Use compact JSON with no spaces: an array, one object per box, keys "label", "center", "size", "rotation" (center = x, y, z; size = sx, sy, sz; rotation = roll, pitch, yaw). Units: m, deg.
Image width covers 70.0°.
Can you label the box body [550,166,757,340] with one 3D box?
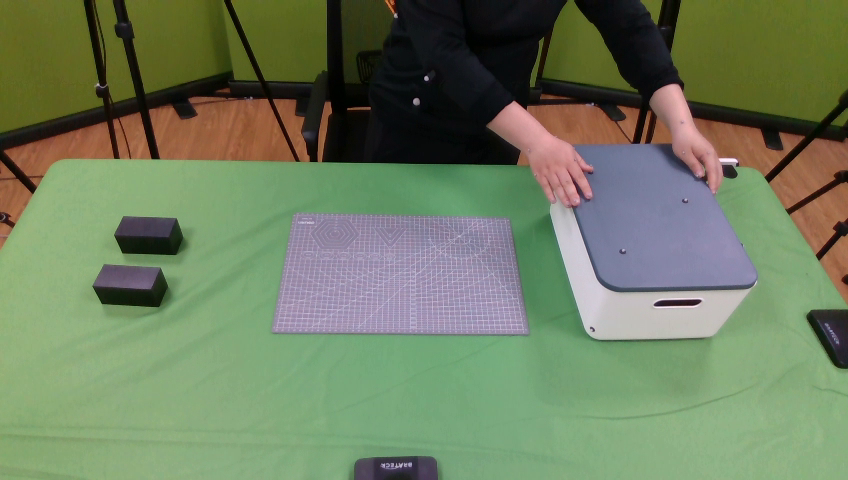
[{"label":"box body","center":[0.395,0.002,1.127],"size":[0.254,0.161,0.361],"rotation":[-1,46,-5]}]

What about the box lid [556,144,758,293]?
[{"label":"box lid","center":[0.394,-0.052,1.068],"size":[0.263,0.015,0.369],"rotation":[-1,46,-4]}]
